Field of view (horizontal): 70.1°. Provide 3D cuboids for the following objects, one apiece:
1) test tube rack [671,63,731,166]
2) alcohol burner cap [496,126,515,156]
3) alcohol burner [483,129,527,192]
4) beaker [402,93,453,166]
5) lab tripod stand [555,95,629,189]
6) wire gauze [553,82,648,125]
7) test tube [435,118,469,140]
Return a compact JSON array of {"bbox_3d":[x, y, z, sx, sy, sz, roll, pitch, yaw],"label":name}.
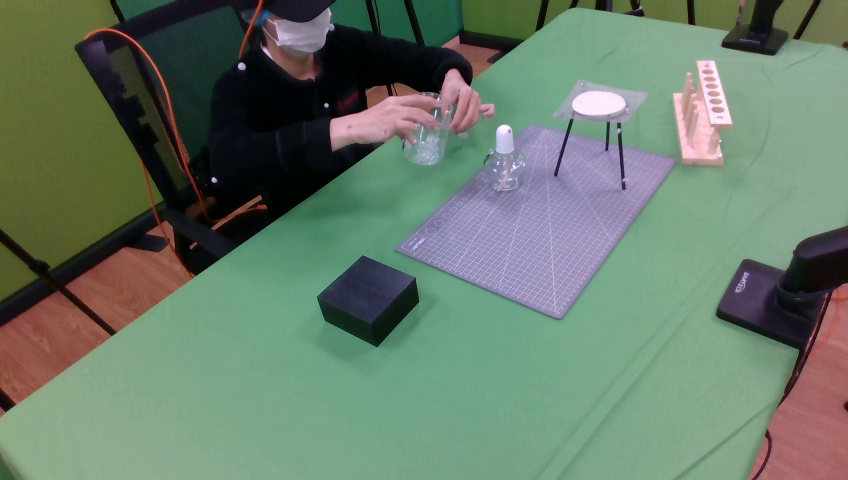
[{"bbox_3d":[0.513,-0.241,1.132,0.066,0.085,0.242,4,41,14],"label":"test tube rack"},{"bbox_3d":[0.138,-0.172,1.028,0.034,0.048,0.033,-5,38,4],"label":"alcohol burner cap"},{"bbox_3d":[0.141,-0.144,1.050,0.078,0.119,0.077,-4,42,4],"label":"alcohol burner"},{"bbox_3d":[0.005,-0.179,1.004,0.073,0.084,0.100,3,69,19],"label":"beaker"},{"bbox_3d":[0.300,-0.174,1.045,0.148,0.132,0.147,-5,38,5],"label":"lab tripod stand"},{"bbox_3d":[0.293,-0.226,1.002,0.120,0.011,0.125,17,45,27],"label":"wire gauze"},{"bbox_3d":[0.055,-0.204,1.121,0.017,0.017,0.151,12,4,23],"label":"test tube"}]
